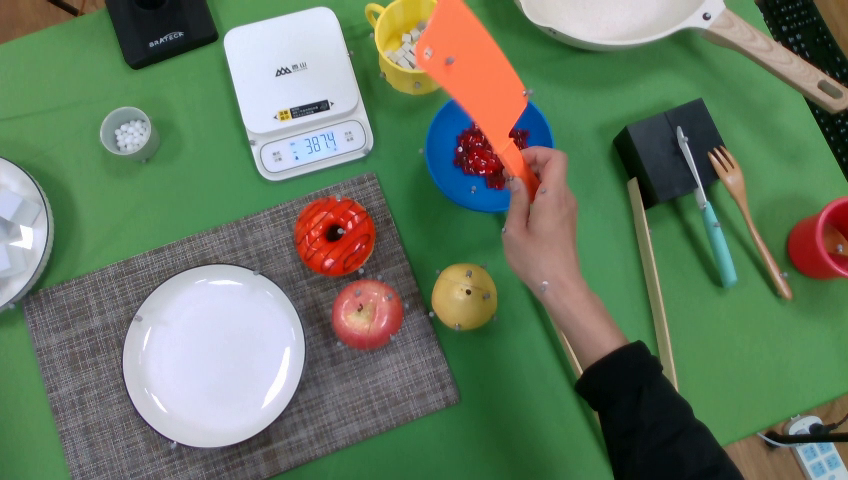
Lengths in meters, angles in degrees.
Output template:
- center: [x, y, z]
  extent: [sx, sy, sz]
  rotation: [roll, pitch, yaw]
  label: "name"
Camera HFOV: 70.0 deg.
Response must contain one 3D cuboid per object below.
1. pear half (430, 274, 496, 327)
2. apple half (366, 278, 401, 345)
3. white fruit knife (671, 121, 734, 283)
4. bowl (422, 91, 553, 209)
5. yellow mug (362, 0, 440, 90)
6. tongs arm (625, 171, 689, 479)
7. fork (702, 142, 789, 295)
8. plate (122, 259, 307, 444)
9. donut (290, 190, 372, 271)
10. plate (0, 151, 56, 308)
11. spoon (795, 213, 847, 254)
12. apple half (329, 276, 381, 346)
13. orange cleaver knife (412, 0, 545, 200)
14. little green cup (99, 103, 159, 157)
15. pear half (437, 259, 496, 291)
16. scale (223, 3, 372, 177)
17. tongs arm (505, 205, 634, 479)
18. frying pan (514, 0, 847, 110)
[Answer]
- center: [0.043, 0.070, 0.683]
  extent: [0.076, 0.110, 0.056]
  rotation: [11, 81, 5]
  label: "pear half"
- center: [-0.042, 0.085, 0.693]
  extent: [0.033, 0.081, 0.081]
  rotation: [12, 81, 4]
  label: "apple half"
- center: [0.330, -0.043, 0.720]
  extent: [0.016, 0.027, 0.208]
  rotation: [-23, 97, -4]
  label: "white fruit knife"
- center: [0.072, -0.104, 0.727]
  extent: [0.151, 0.077, 0.151]
  rotation: [0, 82, -1]
  label: "bowl"
- center: [-0.025, -0.256, 0.754]
  extent: [0.130, 0.064, 0.100]
  rotation: [36, 83, 6]
  label: "yellow mug"
- center: [0.273, 0.107, 0.722]
  extent: [0.028, 0.028, 0.386]
  rotation: [-5, 82, -9]
  label: "tongs arm"
- center: [0.389, -0.023, 0.726]
  extent: [0.028, 0.018, 0.208]
  rotation: [-30, 98, -7]
  label: "fork"
- center: [-0.238, 0.126, 0.702]
  extent: [0.209, 0.038, 0.208]
  rotation: [0, 81, -1]
  label: "plate"
- center: [-0.110, -0.011, 0.722]
  extent: [0.099, 0.048, 0.098]
  rotation: [0, 82, 1]
  label: "donut"
- center: [-0.541, -0.008, 0.722]
  extent: [0.208, 0.039, 0.207]
  rotation: [0, 81, -1]
  label: "plate"
- center: [0.501, 0.026, 0.679]
  extent: [0.041, 0.022, 0.191]
  rotation: [-26, 38, -5]
  label: "spoon"
- center: [-0.080, 0.078, 0.694]
  extent: [0.053, 0.075, 0.080]
  rotation: [12, 84, 5]
  label: "apple half"
- center: [0.064, -0.123, 0.543]
  extent: [0.077, 0.012, 0.213]
  rotation: [-52, 123, -14]
  label: "orange cleaver knife"
- center: [-0.359, -0.132, 0.744]
  extent: [0.061, 0.039, 0.061]
  rotation: [0, 81, 0]
  label: "little green cup"
- center: [0.051, 0.037, 0.698]
  extent: [0.070, 0.088, 0.031]
  rotation: [10, 81, 4]
  label: "pear half"
- center: [-0.160, -0.190, 0.760]
  extent: [0.149, 0.031, 0.200]
  rotation: [-16, 82, -3]
  label: "scale"
- center: [0.190, 0.129, 0.714]
  extent: [0.051, 0.026, 0.383]
  rotation: [-20, 83, -8]
  label: "tongs arm"
- center: [0.303, -0.309, 0.749]
  extent: [0.485, 0.103, 0.306]
  rotation: [41, 84, 13]
  label: "frying pan"
